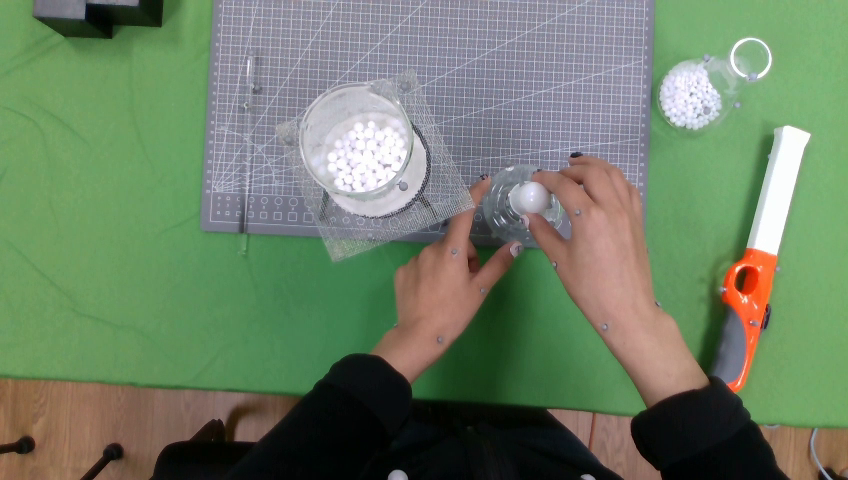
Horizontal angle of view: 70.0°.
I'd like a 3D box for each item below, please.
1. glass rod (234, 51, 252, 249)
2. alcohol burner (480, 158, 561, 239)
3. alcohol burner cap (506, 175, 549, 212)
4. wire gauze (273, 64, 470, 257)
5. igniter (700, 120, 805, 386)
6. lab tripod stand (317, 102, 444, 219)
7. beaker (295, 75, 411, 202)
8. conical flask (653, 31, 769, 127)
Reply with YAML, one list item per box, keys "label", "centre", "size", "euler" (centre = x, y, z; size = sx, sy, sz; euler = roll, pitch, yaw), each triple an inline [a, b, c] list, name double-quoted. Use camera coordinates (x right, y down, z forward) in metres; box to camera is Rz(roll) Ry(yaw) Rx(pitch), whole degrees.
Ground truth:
- label: "glass rod"
  centre: [-0.182, -0.090, 0.612]
  size: [0.008, 0.008, 0.199]
  euler: [4, 92, -1]
- label: "alcohol burner"
  centre: [0.091, -0.041, 0.561]
  size: [0.078, 0.119, 0.078]
  euler: [0, 87, 2]
- label: "alcohol burner cap"
  centre: [0.092, -0.042, 0.524]
  size: [0.034, 0.048, 0.034]
  euler: [0, 91, -6]
- label: "wire gauze"
  centre: [-0.042, -0.063, 0.485]
  size: [0.125, 0.011, 0.121]
  euler: [-23, 91, -3]
- label: "igniter"
  centre: [0.330, 0.015, 0.608]
  size: [0.057, 0.025, 0.276]
  euler: [16, 89, -10]
- label: "lab tripod stand"
  centre: [-0.043, -0.061, 0.551]
  size: [0.148, 0.131, 0.148]
  euler: [0, 90, 0]
- label: "beaker"
  centre: [-0.044, -0.068, 0.438]
  size: [0.074, 0.100, 0.084]
  euler: [25, 88, 0]
- label: "conical flask"
  centre: [0.270, -0.154, 0.564]
  size: [0.075, 0.122, 0.075]
  euler: [0, 88, 1]
